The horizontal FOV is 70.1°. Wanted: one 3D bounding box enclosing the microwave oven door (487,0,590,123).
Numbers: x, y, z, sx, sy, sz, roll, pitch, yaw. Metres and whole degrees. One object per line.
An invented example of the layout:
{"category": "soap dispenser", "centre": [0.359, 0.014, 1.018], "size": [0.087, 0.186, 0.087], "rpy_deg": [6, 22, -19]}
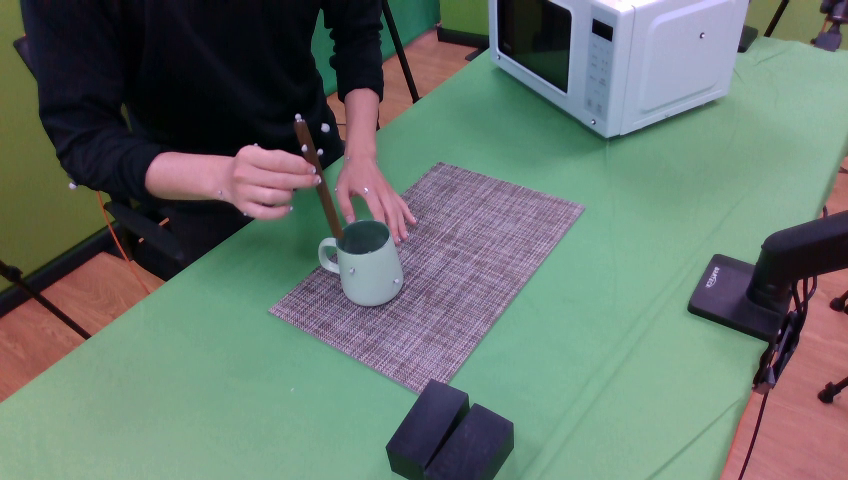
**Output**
{"category": "microwave oven door", "centre": [0.232, -0.420, 1.230], "size": [0.039, 0.245, 0.352], "rpy_deg": [-22, 43, -16]}

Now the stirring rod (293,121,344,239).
{"category": "stirring rod", "centre": [-0.122, -0.065, 0.713], "size": [0.014, 0.177, 0.006], "rpy_deg": [-9, 43, 3]}

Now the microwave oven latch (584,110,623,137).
{"category": "microwave oven latch", "centre": [0.337, -0.222, 1.142], "size": [0.030, 0.029, 0.078], "rpy_deg": [-21, 42, -14]}

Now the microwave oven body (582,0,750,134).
{"category": "microwave oven body", "centre": [0.382, -0.445, 1.246], "size": [0.327, 0.261, 0.437], "rpy_deg": [-22, 42, -16]}

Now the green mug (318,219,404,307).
{"category": "green mug", "centre": [-0.095, 0.032, 0.876], "size": [0.125, 0.105, 0.092], "rpy_deg": [8, 43, 17]}
